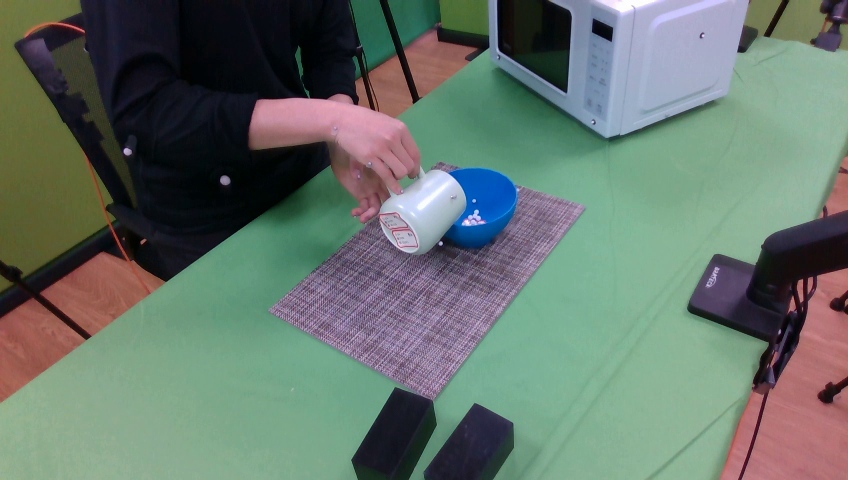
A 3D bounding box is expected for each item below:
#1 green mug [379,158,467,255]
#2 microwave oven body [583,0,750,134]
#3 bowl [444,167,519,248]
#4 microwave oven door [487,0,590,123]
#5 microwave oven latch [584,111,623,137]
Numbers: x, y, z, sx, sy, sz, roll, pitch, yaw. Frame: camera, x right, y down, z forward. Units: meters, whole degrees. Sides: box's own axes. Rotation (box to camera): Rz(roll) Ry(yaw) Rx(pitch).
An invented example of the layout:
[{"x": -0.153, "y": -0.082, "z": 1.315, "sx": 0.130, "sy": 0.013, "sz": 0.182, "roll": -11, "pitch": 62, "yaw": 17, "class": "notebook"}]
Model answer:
[{"x": -0.010, "y": -0.053, "z": 0.843, "sx": 0.105, "sy": 0.126, "sz": 0.092, "roll": -43, "pitch": 23, "yaw": -31, "class": "green mug"}, {"x": 0.382, "y": -0.445, "z": 1.246, "sx": 0.327, "sy": 0.261, "sz": 0.437, "roll": -22, "pitch": 42, "yaw": -16, "class": "microwave oven body"}, {"x": 0.075, "y": -0.041, "z": 0.958, "sx": 0.151, "sy": 0.077, "sz": 0.150, "roll": -4, "pitch": 42, "yaw": 4, "class": "bowl"}, {"x": 0.232, "y": -0.420, "z": 1.231, "sx": 0.039, "sy": 0.245, "sz": 0.352, "roll": -22, "pitch": 43, "yaw": -16, "class": "microwave oven door"}, {"x": 0.337, "y": -0.222, "z": 1.142, "sx": 0.030, "sy": 0.029, "sz": 0.078, "roll": -21, "pitch": 42, "yaw": -14, "class": "microwave oven latch"}]
